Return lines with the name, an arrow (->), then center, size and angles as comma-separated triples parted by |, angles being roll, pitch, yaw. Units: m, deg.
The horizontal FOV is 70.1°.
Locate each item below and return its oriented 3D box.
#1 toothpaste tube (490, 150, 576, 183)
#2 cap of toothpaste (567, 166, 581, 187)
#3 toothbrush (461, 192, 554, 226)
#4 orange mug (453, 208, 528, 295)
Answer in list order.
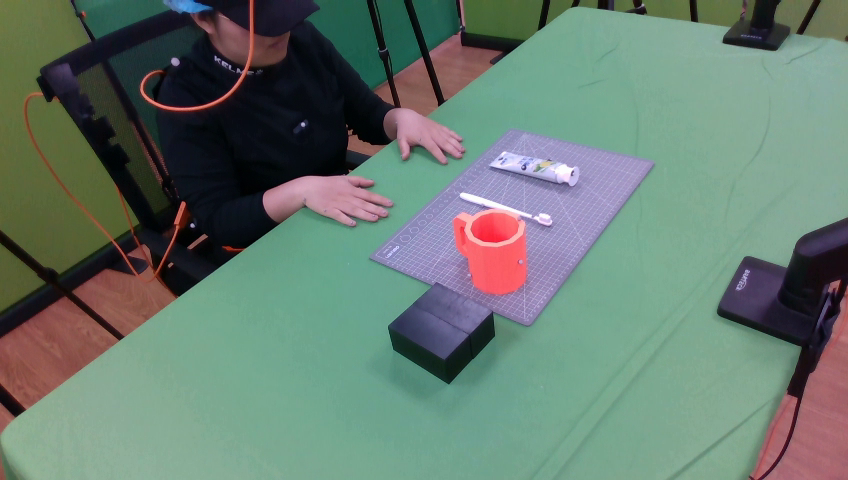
toothpaste tube -> 0.202, -0.135, 1.099 | 0.164, 0.034, 0.055 | 21, 45, 34
cap of toothpaste -> 0.260, -0.112, 1.053 | 0.011, 0.037, 0.037 | 22, 50, 37
toothbrush -> 0.137, -0.056, 1.026 | 0.180, 0.017, 0.014 | 20, 62, 32
orange mug -> 0.095, 0.009, 0.894 | 0.125, 0.101, 0.084 | 32, 55, 33
